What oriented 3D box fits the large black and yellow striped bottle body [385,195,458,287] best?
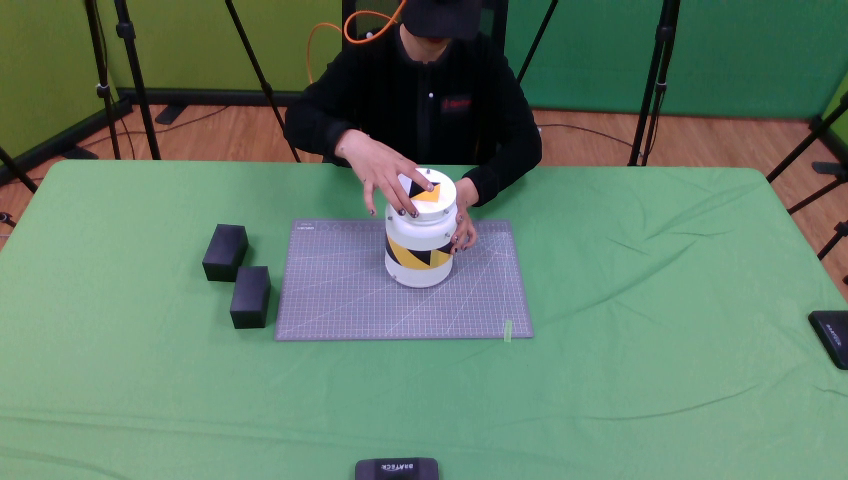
[{"bbox_3d":[-0.007,-0.018,1.097,0.131,0.185,0.130,2,46,-2],"label":"large black and yellow striped bottle body"}]

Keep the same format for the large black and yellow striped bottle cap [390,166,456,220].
[{"bbox_3d":[-0.001,-0.082,1.032,0.115,0.019,0.114,3,49,-4],"label":"large black and yellow striped bottle cap"}]
